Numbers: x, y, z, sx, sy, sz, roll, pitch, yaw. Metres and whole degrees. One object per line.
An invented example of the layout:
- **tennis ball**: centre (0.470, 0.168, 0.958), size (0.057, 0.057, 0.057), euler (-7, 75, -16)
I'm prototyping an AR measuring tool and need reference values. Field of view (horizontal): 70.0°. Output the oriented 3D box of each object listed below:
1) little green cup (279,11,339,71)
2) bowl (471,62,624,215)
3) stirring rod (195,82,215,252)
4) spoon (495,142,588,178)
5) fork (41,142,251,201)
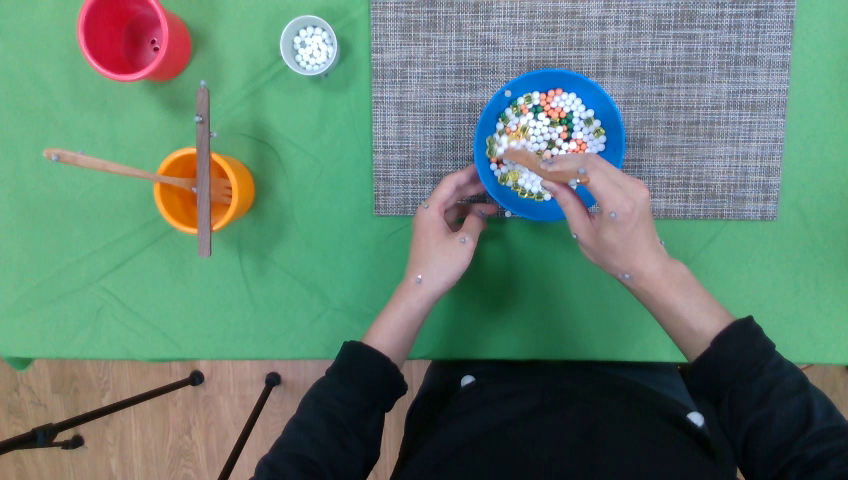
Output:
- **little green cup**: centre (-0.122, -0.214, 0.659), size (0.061, 0.038, 0.062), euler (1, 100, 4)
- **bowl**: centre (0.125, -0.104, 0.636), size (0.151, 0.076, 0.151), euler (1, 99, 4)
- **stirring rod**: centre (-0.228, -0.074, 0.630), size (0.014, 0.006, 0.176), euler (2, 100, 5)
- **spoon**: centre (0.108, -0.072, 0.559), size (0.042, 0.192, 0.022), euler (0, 107, -11)
- **fork**: centre (-0.281, -0.072, 0.637), size (0.209, 0.018, 0.028), euler (11, 106, -42)
